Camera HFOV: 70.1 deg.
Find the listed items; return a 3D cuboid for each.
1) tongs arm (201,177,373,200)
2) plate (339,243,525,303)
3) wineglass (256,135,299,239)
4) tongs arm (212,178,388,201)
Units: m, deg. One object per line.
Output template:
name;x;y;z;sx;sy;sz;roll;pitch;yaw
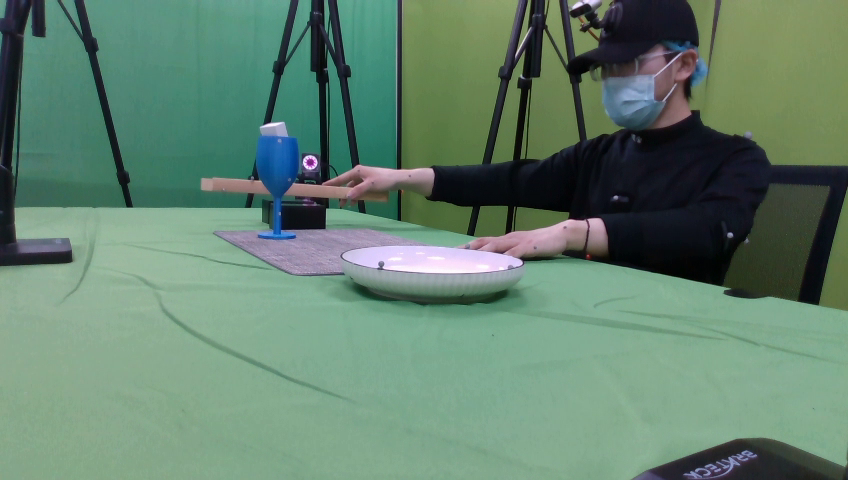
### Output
tongs arm;-0.271;-0.109;1.298;0.389;0.027;0.028;2;0;-22
plate;0.008;0.035;0.682;0.209;0.038;0.209;3;7;0
wineglass;-0.252;-0.091;1.035;0.074;0.172;0.073;2;7;0
tongs arm;-0.238;-0.102;1.237;0.387;0.026;0.050;1;4;-31
